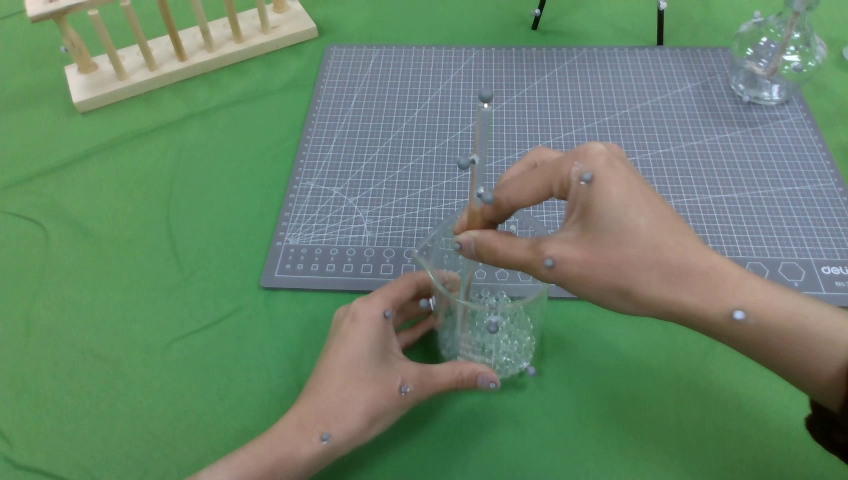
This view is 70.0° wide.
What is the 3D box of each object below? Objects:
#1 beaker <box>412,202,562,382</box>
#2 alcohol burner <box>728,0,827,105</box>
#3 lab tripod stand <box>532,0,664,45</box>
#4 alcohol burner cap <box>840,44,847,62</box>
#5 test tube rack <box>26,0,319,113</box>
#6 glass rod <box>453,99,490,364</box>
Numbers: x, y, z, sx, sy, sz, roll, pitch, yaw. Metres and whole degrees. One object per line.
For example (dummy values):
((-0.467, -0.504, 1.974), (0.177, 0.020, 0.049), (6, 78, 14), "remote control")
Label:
((0.037, 0.037, 0.374), (0.084, 0.101, 0.073), (5, 52, 7), "beaker")
((0.306, -0.175, 0.513), (0.078, 0.120, 0.077), (-1, 54, 2), "alcohol burner")
((0.184, -0.273, 0.586), (0.148, 0.132, 0.147), (0, 52, 0), "lab tripod stand")
((0.421, -0.192, 0.570), (0.034, 0.048, 0.033), (-1, 51, 1), "alcohol burner cap")
((-0.233, -0.214, 0.589), (0.242, 0.086, 0.066), (-23, 55, -15), "test tube rack")
((0.023, 0.011, 0.327), (0.008, 0.201, 0.008), (1, 46, 0), "glass rod")
